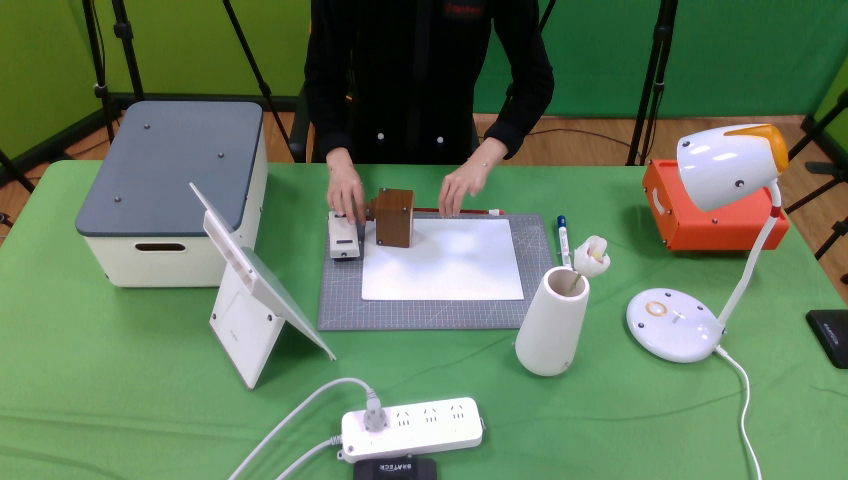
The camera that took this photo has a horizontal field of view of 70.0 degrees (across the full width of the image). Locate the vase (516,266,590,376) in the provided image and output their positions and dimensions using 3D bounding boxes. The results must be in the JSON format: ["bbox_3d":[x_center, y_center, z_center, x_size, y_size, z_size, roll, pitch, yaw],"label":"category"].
[{"bbox_3d":[0.208,0.132,0.964,0.098,0.201,0.097,3,46,-3],"label":"vase"}]

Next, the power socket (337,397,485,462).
[{"bbox_3d":[-0.018,0.285,0.915,0.227,0.033,0.071,-5,46,-8],"label":"power socket"}]

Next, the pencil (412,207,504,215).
[{"bbox_3d":[0.056,-0.057,1.153,0.194,0.012,0.012,2,46,0],"label":"pencil"}]

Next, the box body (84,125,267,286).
[{"bbox_3d":[-0.446,-0.088,1.150,0.254,0.161,0.361,-1,46,-5],"label":"box body"}]

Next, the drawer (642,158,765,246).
[{"bbox_3d":[0.565,-0.076,1.211,0.212,0.073,0.193,2,45,-2],"label":"drawer"}]

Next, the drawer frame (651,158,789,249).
[{"bbox_3d":[0.571,-0.075,1.214,0.214,0.083,0.200,0,45,-1],"label":"drawer frame"}]

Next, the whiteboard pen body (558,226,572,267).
[{"bbox_3d":[0.280,0.010,1.208,0.017,0.017,0.140,3,50,-1],"label":"whiteboard pen body"}]

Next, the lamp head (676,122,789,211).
[{"bbox_3d":[0.423,-0.104,0.819,0.122,0.113,0.112,-13,33,40],"label":"lamp head"}]

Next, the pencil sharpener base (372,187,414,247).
[{"bbox_3d":[-0.061,-0.043,1.171,0.077,0.107,0.061,4,46,1],"label":"pencil sharpener base"}]

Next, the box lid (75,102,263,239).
[{"bbox_3d":[-0.443,-0.138,1.094,0.263,0.015,0.369,-1,47,-5],"label":"box lid"}]

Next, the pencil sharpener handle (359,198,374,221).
[{"bbox_3d":[-0.111,-0.058,1.164,0.030,0.068,0.036,5,58,1],"label":"pencil sharpener handle"}]

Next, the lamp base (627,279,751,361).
[{"bbox_3d":[0.459,0.100,1.027,0.178,0.181,0.160,27,51,17],"label":"lamp base"}]

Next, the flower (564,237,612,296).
[{"bbox_3d":[0.206,0.088,0.893,0.038,0.363,0.044,-16,67,-9],"label":"flower"}]

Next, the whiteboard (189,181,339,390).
[{"bbox_3d":[-0.292,0.096,0.929,0.144,0.307,0.216,-37,57,-10],"label":"whiteboard"}]

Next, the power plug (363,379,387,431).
[{"bbox_3d":[-0.072,0.252,0.910,0.035,0.053,0.072,3,45,-1],"label":"power plug"}]

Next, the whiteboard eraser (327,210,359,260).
[{"bbox_3d":[-0.158,-0.009,1.177,0.055,0.042,0.112,-6,47,-7],"label":"whiteboard eraser"}]

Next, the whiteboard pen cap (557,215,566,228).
[{"bbox_3d":[0.284,-0.035,1.246,0.018,0.018,0.033,4,52,-1],"label":"whiteboard pen cap"}]
